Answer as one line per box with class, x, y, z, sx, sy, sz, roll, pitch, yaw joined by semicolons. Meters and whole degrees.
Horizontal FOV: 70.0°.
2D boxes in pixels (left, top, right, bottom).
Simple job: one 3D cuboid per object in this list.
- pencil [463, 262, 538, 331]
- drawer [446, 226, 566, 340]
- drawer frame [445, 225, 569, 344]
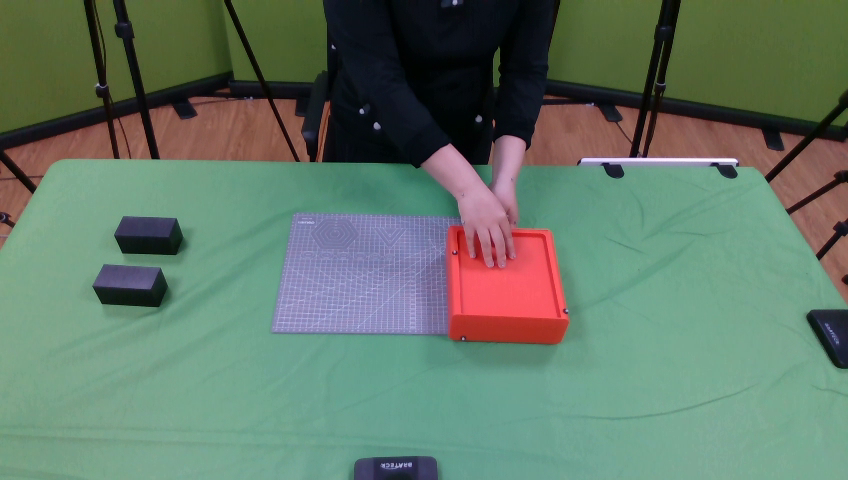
pencil;0.135;0.098;1.098;0.012;0.012;0.193;-28;54;-28
drawer;0.139;0.073;1.092;0.194;0.073;0.210;3;47;-3
drawer frame;0.141;0.076;1.090;0.202;0.083;0.212;3;46;-4
